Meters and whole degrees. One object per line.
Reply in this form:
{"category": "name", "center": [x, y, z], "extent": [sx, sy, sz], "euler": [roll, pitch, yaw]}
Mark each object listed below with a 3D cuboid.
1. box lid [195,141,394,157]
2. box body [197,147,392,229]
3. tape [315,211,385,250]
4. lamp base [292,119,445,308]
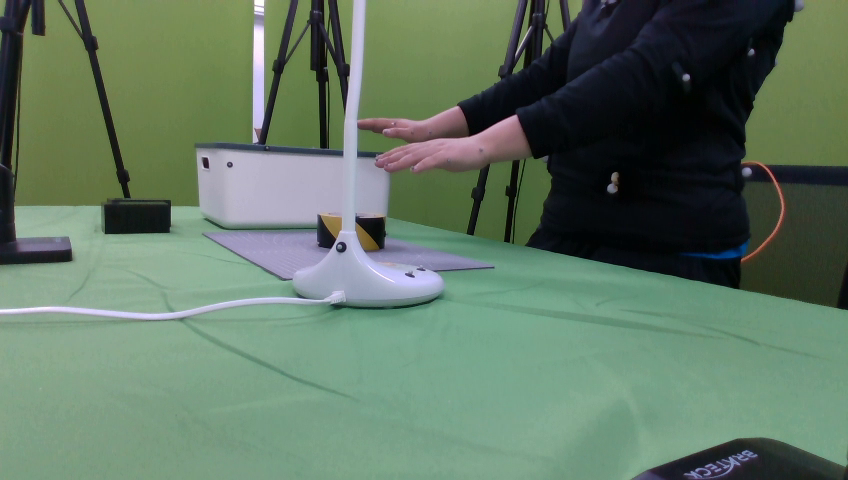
{"category": "box lid", "center": [-0.277, -0.190, 1.282], "extent": [0.373, 0.015, 0.262], "euler": [-1, 8, -30]}
{"category": "box body", "center": [-0.278, -0.117, 1.292], "extent": [0.366, 0.160, 0.253], "euler": [-2, 8, -30]}
{"category": "tape", "center": [-0.119, -0.017, 0.973], "extent": [0.117, 0.052, 0.117], "euler": [2, 7, 0]}
{"category": "lamp base", "center": [-0.056, -0.030, 0.616], "extent": [0.160, 0.180, 0.179], "euler": [3, 10, 8]}
